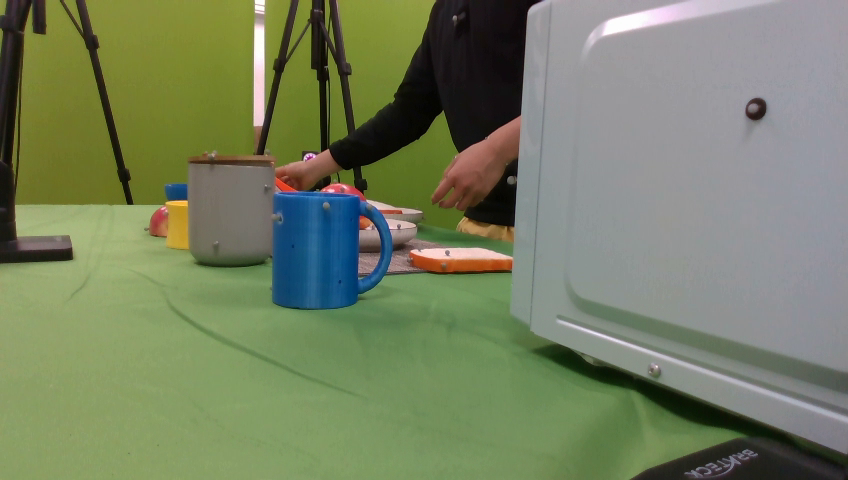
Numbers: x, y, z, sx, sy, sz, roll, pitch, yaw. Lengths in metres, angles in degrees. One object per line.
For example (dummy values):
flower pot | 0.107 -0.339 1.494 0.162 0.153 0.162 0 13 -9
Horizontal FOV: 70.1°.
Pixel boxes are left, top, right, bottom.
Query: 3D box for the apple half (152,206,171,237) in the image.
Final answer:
apple half | -0.415 -0.034 1.017 0.081 0.053 0.074 1 10 -9

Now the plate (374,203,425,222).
plate | -0.102 -0.053 1.299 0.209 0.038 0.209 2 8 0

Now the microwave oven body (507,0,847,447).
microwave oven body | 0.331 -0.042 0.425 0.444 0.260 0.324 -2 8 -31

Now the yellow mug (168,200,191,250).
yellow mug | -0.320 -0.023 0.904 0.130 0.064 0.100 8 10 36

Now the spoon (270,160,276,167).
spoon | -0.396 -0.150 1.548 0.042 0.193 0.021 7 -38 -9

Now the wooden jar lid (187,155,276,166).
wooden jar lid | -0.244 -0.097 0.771 0.108 0.020 0.108 -1 7 0

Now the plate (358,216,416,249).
plate | -0.116 -0.014 0.967 0.208 0.039 0.207 2 7 0

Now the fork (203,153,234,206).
fork | -0.480 -0.136 1.412 0.028 0.018 0.207 0 -34 -1

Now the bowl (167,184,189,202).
bowl | -0.408 -0.064 1.154 0.151 0.077 0.151 2 8 0

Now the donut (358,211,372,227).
donut | -0.129 -0.041 0.957 0.099 0.048 0.099 2 8 0

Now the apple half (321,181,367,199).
apple half | -0.129 -0.076 0.950 0.081 0.033 0.081 2 15 0

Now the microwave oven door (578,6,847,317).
microwave oven door | 0.294 -0.067 0.570 0.358 0.243 0.039 -3 9 -31

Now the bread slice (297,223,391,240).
bread slice | -0.121 -0.015 0.970 0.106 0.018 0.135 9 8 41

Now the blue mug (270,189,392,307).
blue mug | -0.089 0.005 0.588 0.117 0.106 0.082 0 7 -10

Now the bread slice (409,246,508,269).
bread slice | 0.048 0.022 0.816 0.132 0.019 0.104 0 7 -24

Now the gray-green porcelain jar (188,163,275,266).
gray-green porcelain jar | -0.246 -0.034 0.780 0.106 0.126 0.106 2 7 0

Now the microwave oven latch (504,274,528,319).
microwave oven latch | 0.100 0.041 0.471 0.079 0.029 0.030 -1 7 -28

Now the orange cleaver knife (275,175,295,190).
orange cleaver knife | -0.283 -0.087 1.343 0.212 0.077 0.012 24 -16 -41
